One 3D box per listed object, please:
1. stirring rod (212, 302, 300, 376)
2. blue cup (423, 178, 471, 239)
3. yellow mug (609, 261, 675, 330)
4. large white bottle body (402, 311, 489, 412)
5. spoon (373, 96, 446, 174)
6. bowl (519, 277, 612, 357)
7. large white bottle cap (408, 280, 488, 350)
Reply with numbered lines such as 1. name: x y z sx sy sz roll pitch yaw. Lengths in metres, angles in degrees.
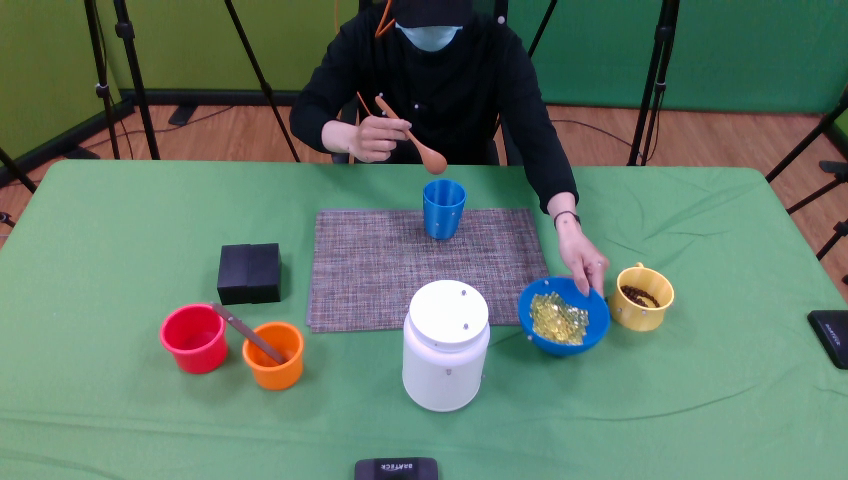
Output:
1. stirring rod: -0.261 0.156 0.948 0.177 0.006 0.014 45 45 -20
2. blue cup: 0.036 -0.056 1.192 0.093 0.101 0.092 3 45 -3
3. yellow mug: 0.393 0.093 1.103 0.100 0.064 0.130 8 46 3
4. large white bottle body: 0.031 0.163 0.928 0.131 0.185 0.130 2 46 -2
5. spoon: -0.027 -0.192 1.117 0.041 0.194 0.021 -40 23 13
6. bowl: 0.233 0.144 1.021 0.151 0.077 0.150 -1 43 1
7. large white bottle cap: 0.034 0.105 0.866 0.115 0.018 0.114 2 46 -1
